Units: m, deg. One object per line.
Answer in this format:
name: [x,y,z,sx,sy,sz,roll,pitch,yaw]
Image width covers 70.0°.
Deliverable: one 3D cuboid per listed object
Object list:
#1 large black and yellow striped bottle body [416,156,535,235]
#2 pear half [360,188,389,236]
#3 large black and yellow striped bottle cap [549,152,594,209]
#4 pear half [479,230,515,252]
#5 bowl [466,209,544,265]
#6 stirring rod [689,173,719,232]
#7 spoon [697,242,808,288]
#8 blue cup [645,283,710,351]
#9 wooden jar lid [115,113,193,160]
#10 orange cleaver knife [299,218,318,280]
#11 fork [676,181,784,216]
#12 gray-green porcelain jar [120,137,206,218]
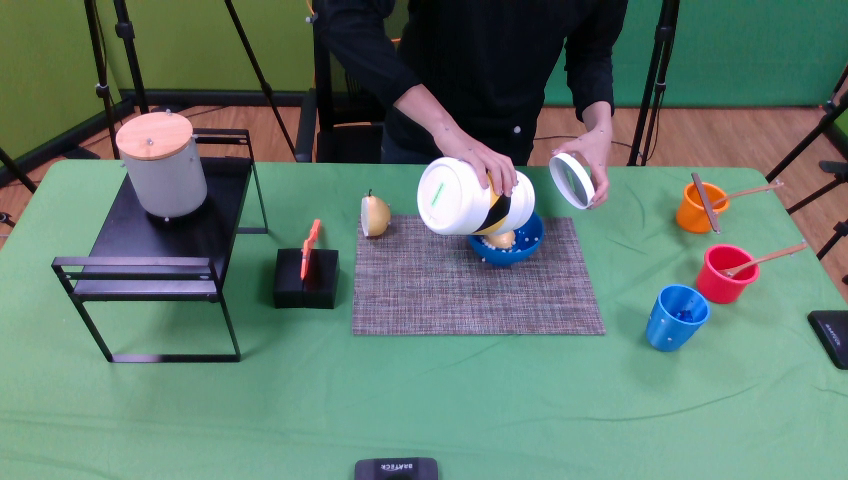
large black and yellow striped bottle body: [0.094,-0.074,1.058,0.184,0.131,0.130,0,40,-40]
pear half: [-0.096,-0.060,1.181,0.056,0.110,0.076,-13,52,-17]
large black and yellow striped bottle cap: [0.275,-0.111,1.132,0.019,0.115,0.114,-31,54,-7]
pear half: [0.145,-0.013,1.167,0.070,0.031,0.087,-22,55,-20]
bowl: [0.150,-0.004,1.167,0.151,0.077,0.150,2,46,-2]
stirring rod: [0.566,-0.079,1.225,0.014,0.006,0.175,2,45,2]
spoon: [0.601,0.045,1.116,0.194,0.022,0.041,-29,34,30]
blue cup: [0.426,0.139,1.041,0.093,0.100,0.092,4,46,-4]
wooden jar lid: [-0.399,-0.151,0.900,0.108,0.021,0.107,3,46,-3]
orange cleaver knife: [-0.214,0.013,1.125,0.012,0.077,0.210,5,17,-5]
fork: [0.618,-0.083,1.235,0.207,0.019,0.028,-23,21,38]
gray-green porcelain jar: [-0.403,-0.106,0.946,0.106,0.127,0.105,3,46,-2]
